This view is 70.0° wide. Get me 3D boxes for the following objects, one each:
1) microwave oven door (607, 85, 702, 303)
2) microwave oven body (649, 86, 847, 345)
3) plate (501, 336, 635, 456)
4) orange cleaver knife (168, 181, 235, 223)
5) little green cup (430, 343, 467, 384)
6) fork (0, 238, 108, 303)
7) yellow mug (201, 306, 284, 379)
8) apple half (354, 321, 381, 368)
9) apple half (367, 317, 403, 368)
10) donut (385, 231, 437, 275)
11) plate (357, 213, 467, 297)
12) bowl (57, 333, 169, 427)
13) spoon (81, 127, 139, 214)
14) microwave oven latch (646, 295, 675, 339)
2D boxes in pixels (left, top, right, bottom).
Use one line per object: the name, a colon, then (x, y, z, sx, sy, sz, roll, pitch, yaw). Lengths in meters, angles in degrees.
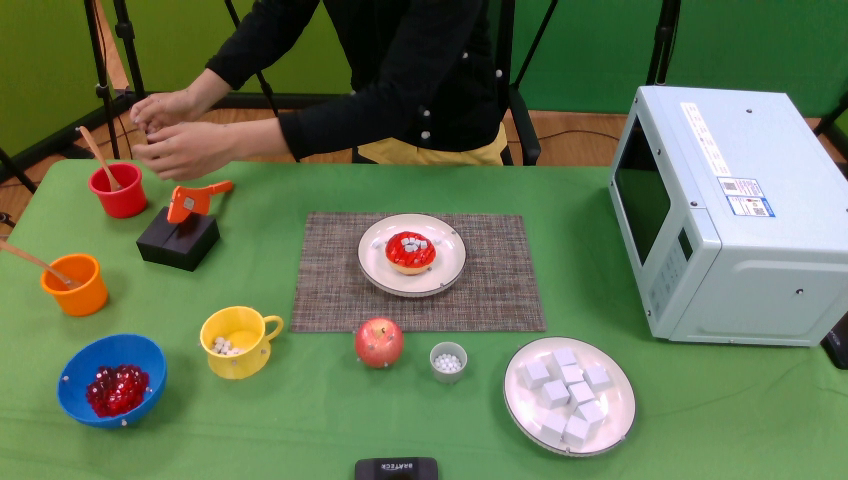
microwave oven door: (0.423, -0.094, 1.140, 0.039, 0.245, 0.353, 2, 46, -1)
microwave oven body: (0.568, -0.053, 1.118, 0.326, 0.261, 0.439, 2, 45, -1)
plate: (0.225, 0.249, 0.964, 0.208, 0.039, 0.206, 2, 46, -2)
orange cleaver knife: (-0.436, -0.077, 1.196, 0.012, 0.077, 0.211, 16, 15, 10)
little green cup: (0.039, 0.203, 0.993, 0.061, 0.039, 0.061, 2, 46, -2)
fork: (-0.633, 0.048, 1.017, 0.208, 0.018, 0.028, 40, 43, -27)
yellow mug: (-0.291, 0.160, 0.993, 0.131, 0.064, 0.099, -23, 51, -25)
apple half: (-0.097, 0.176, 0.985, 0.033, 0.081, 0.080, -12, 48, -20)
apple half: (-0.062, 0.167, 0.998, 0.053, 0.075, 0.080, -11, 44, -21)
donut: (-0.025, 0.024, 1.141, 0.099, 0.048, 0.098, 4, 44, -3)
plate: (-0.023, 0.032, 1.150, 0.209, 0.038, 0.208, 2, 46, -2)
bowl: (-0.456, 0.223, 0.911, 0.151, 0.077, 0.150, 3, 45, -2)
spoon: (-0.625, -0.138, 1.203, 0.041, 0.021, 0.194, -29, 99, -26)
microwave oven latch: (0.412, 0.134, 1.061, 0.030, 0.029, 0.078, 4, 45, 1)
